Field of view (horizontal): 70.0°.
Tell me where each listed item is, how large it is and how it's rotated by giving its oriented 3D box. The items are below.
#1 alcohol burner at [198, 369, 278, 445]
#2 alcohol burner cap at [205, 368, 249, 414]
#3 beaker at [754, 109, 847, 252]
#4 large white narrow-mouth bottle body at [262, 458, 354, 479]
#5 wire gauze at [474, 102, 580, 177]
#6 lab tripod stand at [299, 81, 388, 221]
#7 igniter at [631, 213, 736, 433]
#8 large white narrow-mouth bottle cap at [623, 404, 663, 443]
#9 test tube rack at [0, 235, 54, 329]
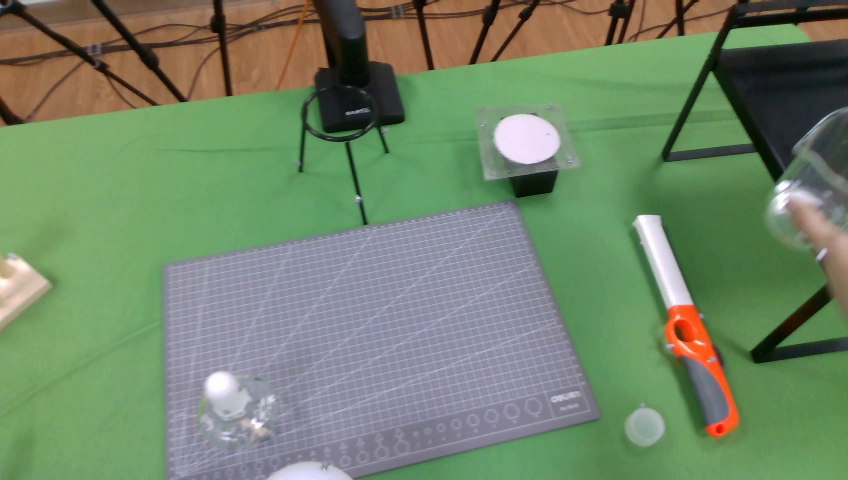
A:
[{"bbox_3d":[-0.185,0.157,0.593,0.078,0.120,0.077,1,56,-2],"label":"alcohol burner"},{"bbox_3d":[-0.185,0.138,0.562,0.034,0.048,0.033,-1,53,2],"label":"alcohol burner cap"},{"bbox_3d":[0.307,-0.040,0.469,0.084,0.101,0.073,7,65,10],"label":"beaker"},{"bbox_3d":[-0.095,0.235,0.490,0.102,0.196,0.101,3,52,-3],"label":"large white narrow-mouth bottle body"},{"bbox_3d":[0.132,-0.136,0.791,0.121,0.011,0.124,-4,57,-3],"label":"wire gauze"},{"bbox_3d":[-0.096,-0.117,0.760,0.148,0.132,0.147,1,58,-2],"label":"lab tripod stand"},{"bbox_3d":[0.296,0.085,0.701,0.057,0.025,0.274,0,57,-13],"label":"igniter"},{"bbox_3d":[0.229,0.192,0.637,0.038,0.024,0.037,0,57,0],"label":"large white narrow-mouth bottle cap"},{"bbox_3d":[-0.540,0.095,0.646,0.066,0.086,0.241,33,63,18],"label":"test tube rack"}]
